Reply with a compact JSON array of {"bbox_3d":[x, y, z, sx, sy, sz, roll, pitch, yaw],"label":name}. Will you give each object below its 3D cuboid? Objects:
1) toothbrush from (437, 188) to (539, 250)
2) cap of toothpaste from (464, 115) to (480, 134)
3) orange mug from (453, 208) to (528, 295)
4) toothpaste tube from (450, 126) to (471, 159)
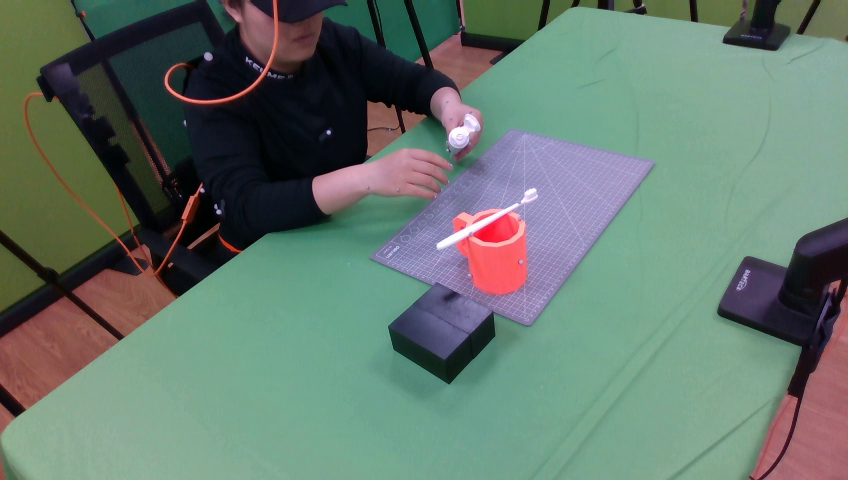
[{"bbox_3d":[0.093,-0.031,0.859,0.182,0.017,0.014,-28,51,-21],"label":"toothbrush"},{"bbox_3d":[0.077,-0.187,0.988,0.011,0.037,0.037,-38,46,-12],"label":"cap of toothpaste"},{"bbox_3d":[0.095,0.009,0.894,0.125,0.101,0.084,32,55,34],"label":"orange mug"},{"bbox_3d":[0.063,-0.178,1.077,0.034,0.165,0.055,30,92,-1],"label":"toothpaste tube"}]
